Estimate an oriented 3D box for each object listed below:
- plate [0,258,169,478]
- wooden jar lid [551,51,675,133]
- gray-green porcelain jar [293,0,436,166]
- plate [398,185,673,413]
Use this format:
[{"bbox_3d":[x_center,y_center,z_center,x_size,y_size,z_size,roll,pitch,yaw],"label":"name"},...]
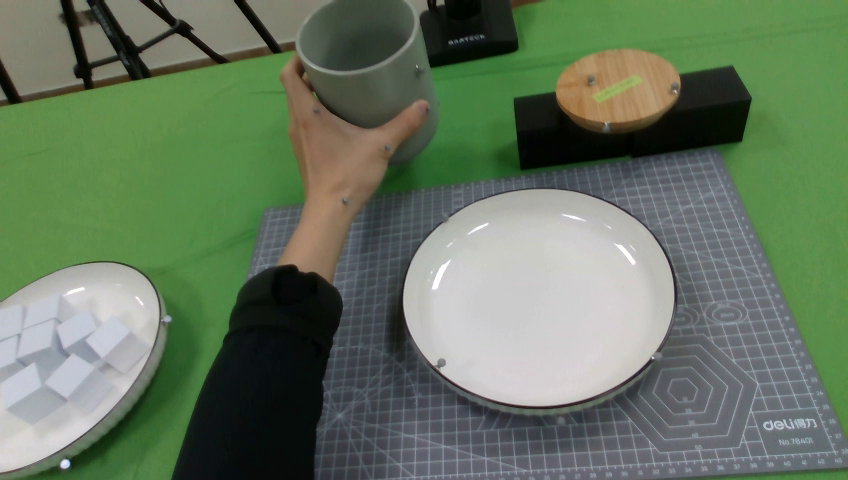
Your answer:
[{"bbox_3d":[-0.319,0.107,0.528,0.207,0.039,0.205,-7,49,8],"label":"plate"},{"bbox_3d":[0.173,-0.136,0.558,0.108,0.021,0.107,-7,50,8],"label":"wooden jar lid"},{"bbox_3d":[-0.047,-0.138,0.552,0.106,0.128,0.105,-5,57,8],"label":"gray-green porcelain jar"},{"bbox_3d":[0.084,0.042,0.478,0.209,0.038,0.207,-7,48,9],"label":"plate"}]
